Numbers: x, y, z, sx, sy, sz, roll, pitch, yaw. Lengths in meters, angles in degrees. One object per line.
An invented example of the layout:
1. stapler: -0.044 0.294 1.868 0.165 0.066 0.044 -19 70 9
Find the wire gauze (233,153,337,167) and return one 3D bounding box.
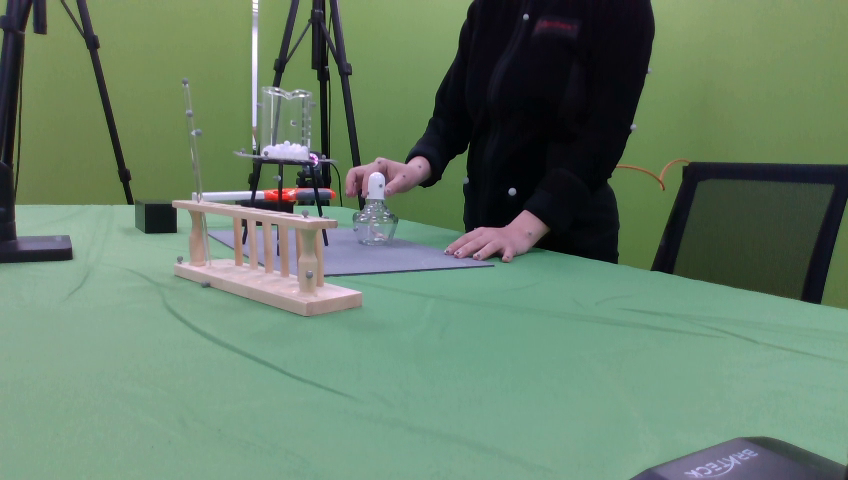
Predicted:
1. wire gauze: -0.205 -0.119 0.887 0.122 0.011 0.124 2 4 -32

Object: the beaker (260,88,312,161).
1. beaker: -0.200 -0.166 0.876 0.074 0.100 0.083 1 7 -18

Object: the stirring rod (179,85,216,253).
1. stirring rod: -0.237 -0.073 0.634 0.006 0.176 0.014 0 10 42

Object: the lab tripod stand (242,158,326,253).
1. lab tripod stand: -0.207 -0.054 0.895 0.148 0.131 0.148 3 5 0

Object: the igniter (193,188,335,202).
1. igniter: -0.312 -0.089 1.209 0.278 0.025 0.057 -5 13 -31

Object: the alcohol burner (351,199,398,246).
1. alcohol burner: -0.081 -0.051 0.995 0.078 0.119 0.078 1 6 0

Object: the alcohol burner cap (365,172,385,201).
1. alcohol burner cap: -0.079 -0.088 0.991 0.034 0.048 0.034 2 2 0

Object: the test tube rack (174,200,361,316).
1. test tube rack: -0.169 0.010 0.622 0.241 0.085 0.067 9 9 41
